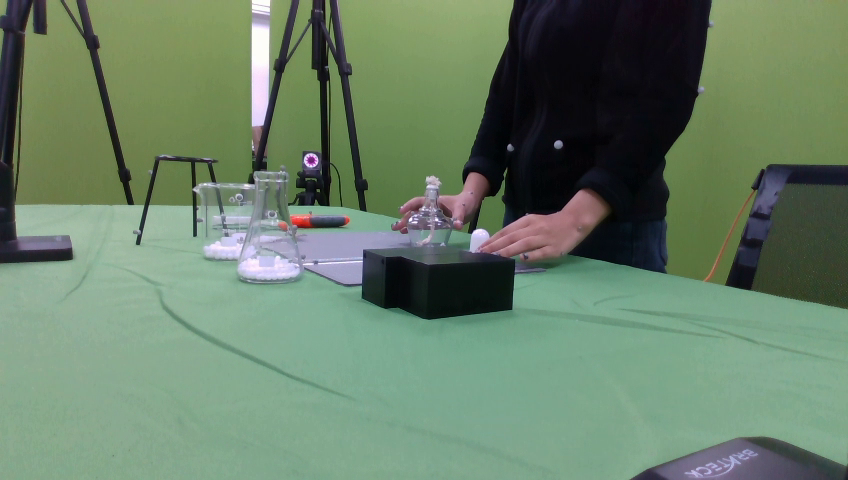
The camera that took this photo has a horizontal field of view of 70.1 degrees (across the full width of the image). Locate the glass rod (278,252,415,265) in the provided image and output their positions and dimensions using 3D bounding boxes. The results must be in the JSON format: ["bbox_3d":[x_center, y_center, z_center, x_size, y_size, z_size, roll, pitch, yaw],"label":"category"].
[{"bbox_3d":[-0.097,0.024,0.805,0.201,0.008,0.008,-3,8,-33],"label":"glass rod"}]

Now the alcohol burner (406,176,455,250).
[{"bbox_3d":[0.012,-0.044,0.963,0.078,0.119,0.078,4,6,0],"label":"alcohol burner"}]

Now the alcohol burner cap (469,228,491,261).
[{"bbox_3d":[0.082,0.006,0.878,0.034,0.048,0.034,2,7,0],"label":"alcohol burner cap"}]

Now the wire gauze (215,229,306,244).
[{"bbox_3d":[-0.273,-0.009,1.012,0.122,0.011,0.124,-2,9,-33],"label":"wire gauze"}]

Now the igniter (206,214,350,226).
[{"bbox_3d":[-0.279,-0.038,1.185,0.278,0.025,0.057,-2,-1,-30],"label":"igniter"}]

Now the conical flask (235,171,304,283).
[{"bbox_3d":[-0.172,-0.016,0.677,0.075,0.122,0.075,2,7,0],"label":"conical flask"}]

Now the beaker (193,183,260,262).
[{"bbox_3d":[-0.262,-0.025,0.806,0.084,0.100,0.073,-3,9,-30],"label":"beaker"}]

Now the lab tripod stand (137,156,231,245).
[{"bbox_3d":[-0.358,-0.061,0.927,0.148,0.131,0.148,4,6,0],"label":"lab tripod stand"}]
